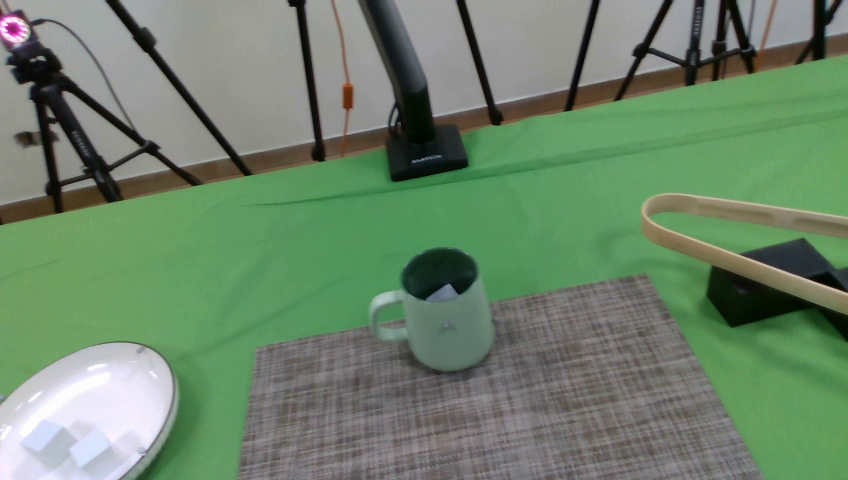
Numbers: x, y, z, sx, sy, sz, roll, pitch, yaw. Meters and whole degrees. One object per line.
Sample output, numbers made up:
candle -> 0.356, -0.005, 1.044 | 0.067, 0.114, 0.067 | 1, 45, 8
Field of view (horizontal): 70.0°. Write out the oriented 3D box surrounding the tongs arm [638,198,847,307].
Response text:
tongs arm -> 0.370, 0.039, 0.552 | 0.384, 0.028, 0.028 | 26, 60, 35

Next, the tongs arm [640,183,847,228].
tongs arm -> 0.413, -0.010, 0.595 | 0.382, 0.027, 0.050 | 15, 51, 27

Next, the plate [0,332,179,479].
plate -> -0.351, 0.185, 0.619 | 0.209, 0.038, 0.207 | -6, 41, 6

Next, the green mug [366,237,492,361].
green mug -> 0.004, 0.064, 0.615 | 0.125, 0.106, 0.091 | -12, 42, 0
